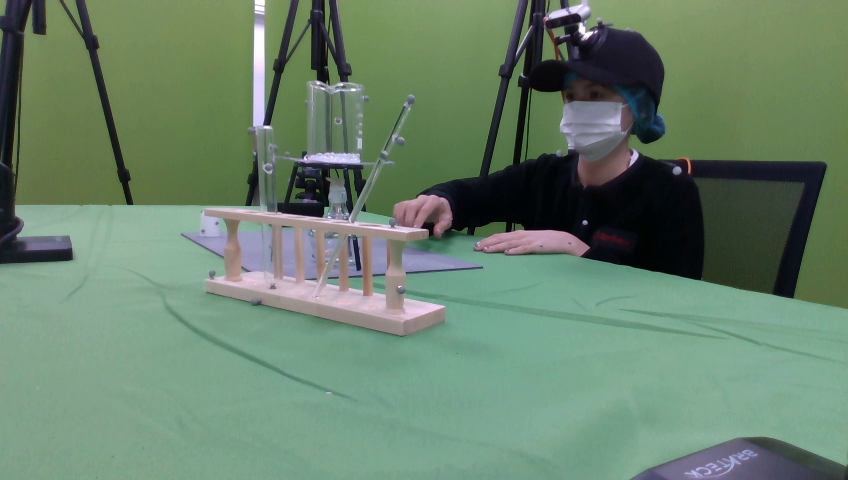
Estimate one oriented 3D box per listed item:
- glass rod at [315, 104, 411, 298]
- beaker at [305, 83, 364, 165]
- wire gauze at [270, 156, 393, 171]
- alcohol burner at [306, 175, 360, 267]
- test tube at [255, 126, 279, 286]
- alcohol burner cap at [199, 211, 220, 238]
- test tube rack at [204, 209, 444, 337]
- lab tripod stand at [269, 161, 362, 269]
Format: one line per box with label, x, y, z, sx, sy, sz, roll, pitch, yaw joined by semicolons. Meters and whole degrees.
glass rod;-0.055;-0.026;0.517;0.008;0.199;0.008;23;24;-11
beaker;-0.116;-0.147;0.775;0.074;0.100;0.084;2;8;-2
wire gauze;-0.122;-0.100;0.786;0.122;0.011;0.124;-5;14;-38
alcohol burner;-0.115;-0.025;0.791;0.078;0.119;0.078;1;8;0
test tube;-0.147;-0.031;0.566;0.017;0.150;0.017;-1;8;0
alcohol burner cap;-0.356;-0.027;1.002;0.034;0.048;0.034;3;7;0
test tube rack;-0.100;0.021;0.565;0.241;0.085;0.067;7;9;32
lab tripod stand;-0.125;-0.036;0.794;0.148;0.131;0.148;5;7;0
